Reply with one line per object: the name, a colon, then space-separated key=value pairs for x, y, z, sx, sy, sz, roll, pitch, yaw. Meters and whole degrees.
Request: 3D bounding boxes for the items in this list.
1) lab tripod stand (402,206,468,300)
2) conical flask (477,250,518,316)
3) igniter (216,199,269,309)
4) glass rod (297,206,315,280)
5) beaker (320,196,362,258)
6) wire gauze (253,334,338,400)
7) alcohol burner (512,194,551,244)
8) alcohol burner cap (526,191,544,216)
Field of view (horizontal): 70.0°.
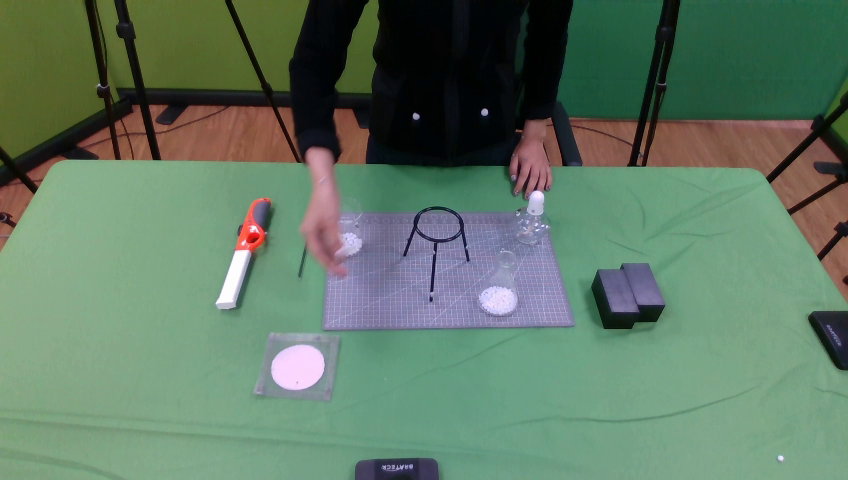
lab tripod stand: x=0.023 y=0.013 z=1.108 sx=0.148 sy=0.132 sz=0.147 roll=3 pitch=44 yaw=-2
conical flask: x=0.137 y=0.072 z=1.067 sx=0.075 sy=0.122 sz=0.075 roll=2 pitch=46 yaw=-2
igniter: x=-0.341 y=0.016 z=1.153 sx=0.057 sy=0.025 sz=0.275 roll=-4 pitch=45 yaw=7
glass rod: x=-0.231 y=0.001 z=1.191 sx=0.008 sy=0.008 sz=0.198 roll=2 pitch=46 yaw=-1
beaker: x=-0.156 y=-0.020 z=1.150 sx=0.084 sy=0.101 sz=0.073 roll=-30 pitch=55 yaw=-28
wire gauze: x=-0.209 y=0.204 z=0.996 sx=0.125 sy=0.011 sz=0.120 roll=3 pitch=45 yaw=1
alcohol burner: x=0.215 y=-0.048 z=1.196 sx=0.078 sy=0.119 sz=0.077 roll=4 pitch=46 yaw=-4
alcohol burner cap: x=0.216 y=-0.073 z=1.170 sx=0.034 sy=0.048 sz=0.033 roll=0 pitch=42 yaw=1
